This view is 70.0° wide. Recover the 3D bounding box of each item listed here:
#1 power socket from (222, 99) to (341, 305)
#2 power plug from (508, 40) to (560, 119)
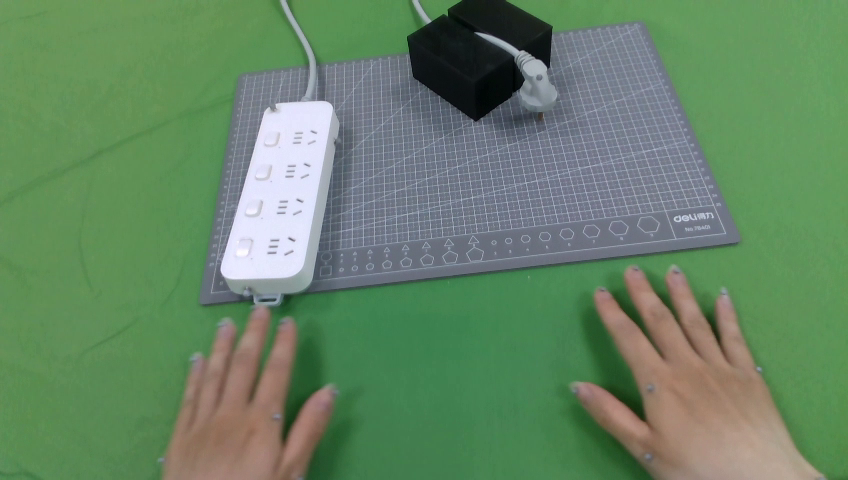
[{"bbox_3d":[-0.124,-0.047,0.552,0.072,0.033,0.224,0,55,6],"label":"power socket"},{"bbox_3d":[0.105,-0.153,0.581,0.035,0.053,0.072,-11,57,-5],"label":"power plug"}]
